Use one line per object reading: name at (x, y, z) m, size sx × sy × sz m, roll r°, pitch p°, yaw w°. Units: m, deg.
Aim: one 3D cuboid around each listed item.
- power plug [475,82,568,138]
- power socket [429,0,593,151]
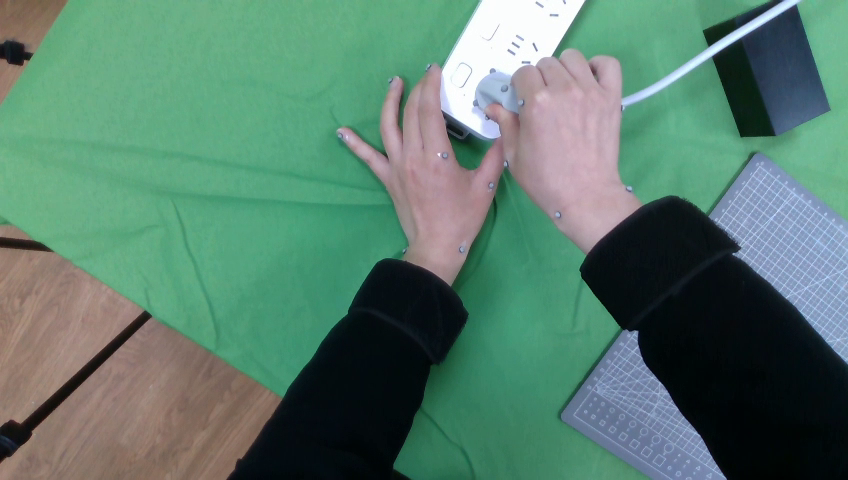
power plug at (0.072, -0.095, 0.482) m, size 0.073 × 0.052 × 0.035 m, roll 41°, pitch 95°, yaw -9°
power socket at (0.084, -0.176, 0.493) m, size 0.072 × 0.032 × 0.227 m, roll 30°, pitch 95°, yaw -8°
